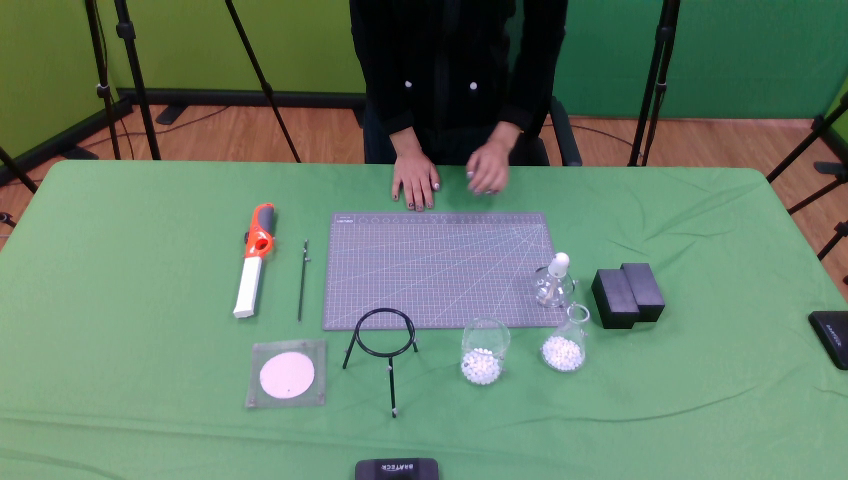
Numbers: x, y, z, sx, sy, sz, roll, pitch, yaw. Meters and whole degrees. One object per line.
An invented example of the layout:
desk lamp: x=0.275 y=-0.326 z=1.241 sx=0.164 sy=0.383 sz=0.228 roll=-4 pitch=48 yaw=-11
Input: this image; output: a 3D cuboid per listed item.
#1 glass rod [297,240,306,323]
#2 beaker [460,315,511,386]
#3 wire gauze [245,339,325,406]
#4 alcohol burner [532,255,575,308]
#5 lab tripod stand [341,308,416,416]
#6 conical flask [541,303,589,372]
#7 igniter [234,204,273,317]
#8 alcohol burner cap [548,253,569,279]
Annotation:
glass rod: x=-0.227 y=0.072 z=1.122 sx=0.008 sy=0.008 sz=0.198 roll=-2 pitch=46 yaw=-5
beaker: x=0.094 y=0.183 z=0.977 sx=0.084 sy=0.101 sz=0.073 roll=-21 pitch=51 yaw=-21
wire gauze: x=-0.224 y=0.215 z=0.984 sx=0.125 sy=0.011 sz=0.120 roll=-2 pitch=46 yaw=-5
alcohol burner: x=0.235 y=0.066 z=1.087 sx=0.078 sy=0.119 sz=0.077 roll=4 pitch=45 yaw=-3
lab tripod stand: x=-0.061 y=0.177 z=0.946 sx=0.148 sy=0.132 sz=0.147 roll=2 pitch=44 yaw=-2
conical flask: x=0.240 y=0.156 z=0.998 sx=0.075 sy=0.122 sz=0.075 roll=2 pitch=46 yaw=-2
igniter: x=-0.321 y=0.029 z=1.142 sx=0.057 sy=0.025 sz=0.274 roll=-7 pitch=46 yaw=3
alcohol burner cap: x=0.238 y=0.042 z=1.060 sx=0.034 sy=0.048 sz=0.033 roll=1 pitch=52 yaw=-2
